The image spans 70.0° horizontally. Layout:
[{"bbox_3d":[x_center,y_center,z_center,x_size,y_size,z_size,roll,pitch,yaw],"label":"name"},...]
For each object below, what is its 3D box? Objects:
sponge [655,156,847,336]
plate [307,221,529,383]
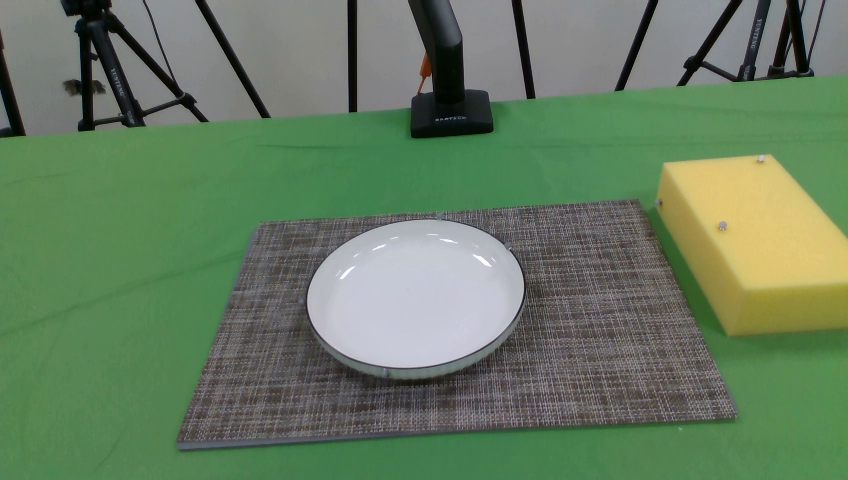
[{"bbox_3d":[0.323,-0.003,0.598,0.118,0.061,0.204,-5,38,1],"label":"sponge"},{"bbox_3d":[-0.005,0.057,0.578,0.207,0.039,0.205,-4,38,3],"label":"plate"}]
